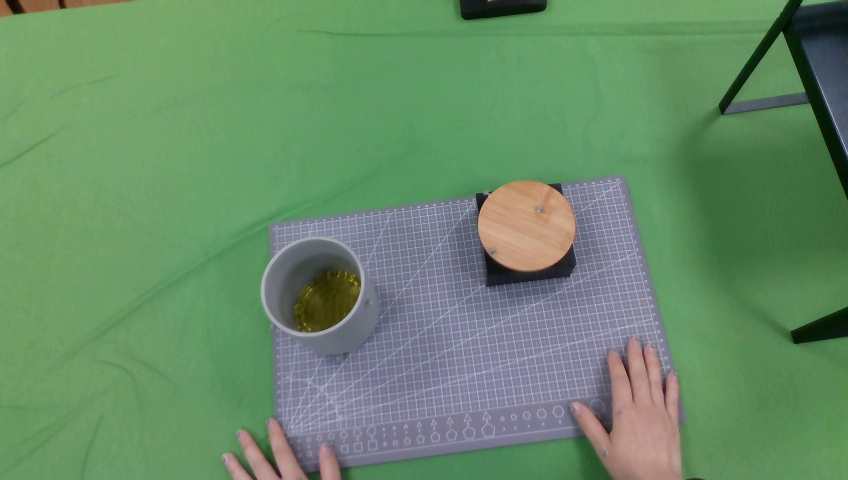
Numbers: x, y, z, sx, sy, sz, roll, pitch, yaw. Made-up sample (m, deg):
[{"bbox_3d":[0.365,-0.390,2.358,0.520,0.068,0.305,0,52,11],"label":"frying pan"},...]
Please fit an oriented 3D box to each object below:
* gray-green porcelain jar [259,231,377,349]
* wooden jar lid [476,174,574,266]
[{"bbox_3d":[-0.109,0.060,0.660,0.106,0.127,0.105,-1,71,3],"label":"gray-green porcelain jar"},{"bbox_3d":[0.112,-0.021,0.678,0.108,0.021,0.107,-1,72,4],"label":"wooden jar lid"}]
